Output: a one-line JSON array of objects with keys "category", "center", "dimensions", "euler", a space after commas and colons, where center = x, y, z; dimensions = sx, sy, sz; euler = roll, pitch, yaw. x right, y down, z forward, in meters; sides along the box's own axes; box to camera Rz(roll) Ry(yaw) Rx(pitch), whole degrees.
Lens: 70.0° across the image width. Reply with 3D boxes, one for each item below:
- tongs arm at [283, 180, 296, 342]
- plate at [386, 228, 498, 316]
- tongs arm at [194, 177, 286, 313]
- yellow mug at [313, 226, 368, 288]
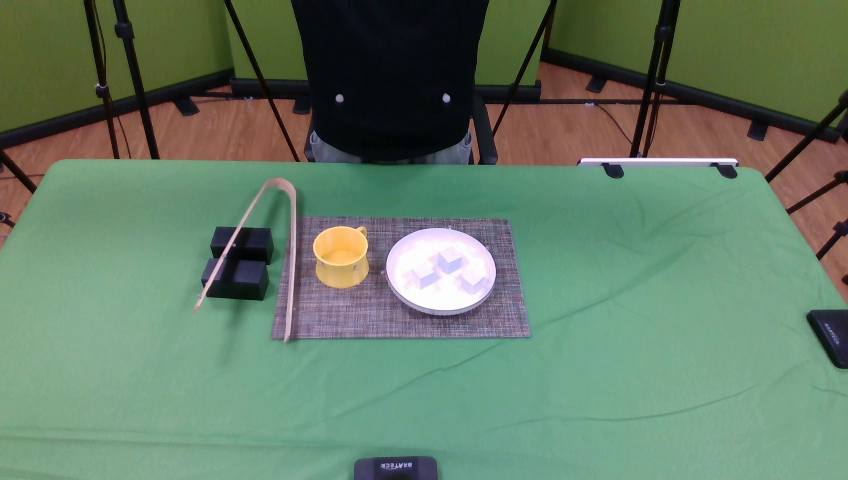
[{"category": "tongs arm", "center": [-0.256, 0.026, 1.141], "dimensions": [0.028, 0.028, 0.385], "euler": [12, 43, -23]}, {"category": "plate", "center": [0.032, 0.062, 1.126], "dimensions": [0.208, 0.039, 0.206], "euler": [2, 46, -2]}, {"category": "tongs arm", "center": [-0.328, -0.004, 1.113], "dimensions": [0.051, 0.026, 0.382], "euler": [24, 38, -15]}, {"category": "yellow mug", "center": [-0.146, 0.021, 1.131], "dimensions": [0.099, 0.064, 0.130], "euler": [24, 49, 19]}]
